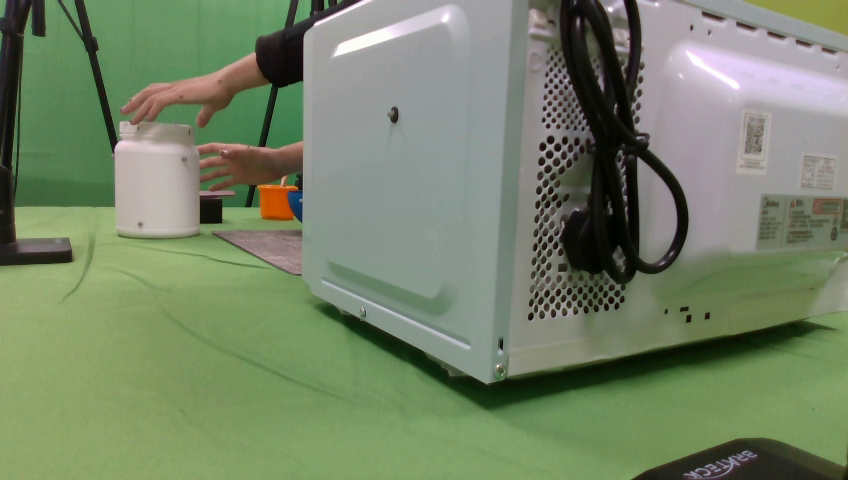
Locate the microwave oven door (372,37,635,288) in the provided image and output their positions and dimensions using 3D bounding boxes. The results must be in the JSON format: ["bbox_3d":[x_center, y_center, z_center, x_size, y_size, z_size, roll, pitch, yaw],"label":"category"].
[{"bbox_3d":[0.110,-0.080,0.686,0.358,0.243,0.039,-2,8,-33],"label":"microwave oven door"}]

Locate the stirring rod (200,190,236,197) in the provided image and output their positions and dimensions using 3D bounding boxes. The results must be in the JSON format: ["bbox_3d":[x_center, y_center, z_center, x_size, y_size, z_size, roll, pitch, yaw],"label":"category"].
[{"bbox_3d":[-0.465,-0.098,1.283,0.014,0.006,0.177,42,21,17],"label":"stirring rod"}]

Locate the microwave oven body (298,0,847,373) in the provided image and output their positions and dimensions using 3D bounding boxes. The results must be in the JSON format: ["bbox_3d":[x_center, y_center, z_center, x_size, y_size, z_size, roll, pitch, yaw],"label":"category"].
[{"bbox_3d":[0.151,-0.055,0.542,0.444,0.260,0.324,-2,7,-33],"label":"microwave oven body"}]

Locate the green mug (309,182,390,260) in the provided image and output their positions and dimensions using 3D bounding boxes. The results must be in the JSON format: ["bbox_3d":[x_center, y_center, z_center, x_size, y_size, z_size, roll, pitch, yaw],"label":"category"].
[{"bbox_3d":[-0.102,-0.029,0.864,0.126,0.105,0.092,-3,8,-40],"label":"green mug"}]

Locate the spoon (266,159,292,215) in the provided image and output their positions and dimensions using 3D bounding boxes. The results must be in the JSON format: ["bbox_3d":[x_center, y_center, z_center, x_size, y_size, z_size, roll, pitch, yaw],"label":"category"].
[{"bbox_3d":[-0.334,-0.127,1.424,0.041,0.021,0.193,2,52,5],"label":"spoon"}]

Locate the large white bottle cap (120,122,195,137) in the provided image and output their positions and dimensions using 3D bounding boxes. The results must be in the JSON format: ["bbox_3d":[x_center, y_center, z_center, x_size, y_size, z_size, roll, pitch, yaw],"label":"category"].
[{"bbox_3d":[-0.444,-0.183,1.010,0.115,0.018,0.115,2,7,0],"label":"large white bottle cap"}]

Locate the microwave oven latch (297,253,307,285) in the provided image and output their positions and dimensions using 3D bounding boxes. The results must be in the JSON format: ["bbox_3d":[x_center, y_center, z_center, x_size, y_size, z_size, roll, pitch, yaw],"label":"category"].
[{"bbox_3d":[-0.082,0.027,0.582,0.079,0.029,0.030,-1,7,-33],"label":"microwave oven latch"}]

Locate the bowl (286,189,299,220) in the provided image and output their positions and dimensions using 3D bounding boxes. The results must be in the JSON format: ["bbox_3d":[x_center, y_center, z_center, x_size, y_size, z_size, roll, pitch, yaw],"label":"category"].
[{"bbox_3d":[-0.179,-0.051,1.114,0.151,0.077,0.151,3,8,0],"label":"bowl"}]

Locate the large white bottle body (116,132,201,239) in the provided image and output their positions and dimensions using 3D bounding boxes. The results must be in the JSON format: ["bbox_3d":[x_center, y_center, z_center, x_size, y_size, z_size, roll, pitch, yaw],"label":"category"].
[{"bbox_3d":[-0.447,-0.099,1.021,0.131,0.184,0.130,2,7,0],"label":"large white bottle body"}]
